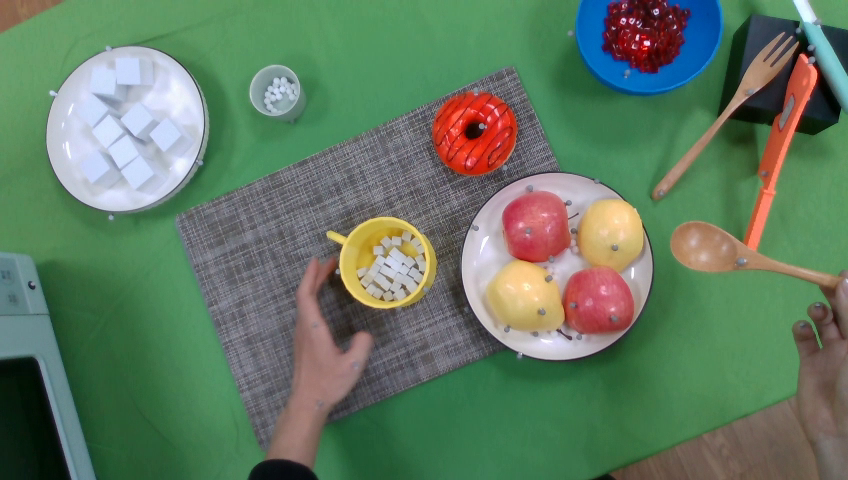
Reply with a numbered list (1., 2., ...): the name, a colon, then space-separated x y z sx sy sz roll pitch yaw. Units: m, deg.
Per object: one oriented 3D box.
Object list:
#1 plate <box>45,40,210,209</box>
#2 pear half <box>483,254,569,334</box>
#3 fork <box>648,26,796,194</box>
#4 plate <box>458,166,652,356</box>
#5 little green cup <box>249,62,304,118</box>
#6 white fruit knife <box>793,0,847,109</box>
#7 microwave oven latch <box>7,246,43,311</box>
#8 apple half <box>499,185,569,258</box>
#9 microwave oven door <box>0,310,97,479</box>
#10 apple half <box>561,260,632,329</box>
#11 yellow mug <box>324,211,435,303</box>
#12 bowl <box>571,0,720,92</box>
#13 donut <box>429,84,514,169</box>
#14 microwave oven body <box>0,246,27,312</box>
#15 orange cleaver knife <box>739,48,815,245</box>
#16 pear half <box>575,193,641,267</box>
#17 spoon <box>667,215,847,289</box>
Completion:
1. plate: -0.359 -0.139 0.747 0.207 0.039 0.207 -1 85 7
2. pear half: 0.119 0.066 0.658 0.110 0.056 0.076 39 96 1
3. fork: 0.310 -0.131 0.645 0.028 0.018 0.208 35 110 0
4. plate: 0.142 0.023 0.673 0.209 0.038 0.208 -1 85 6
5. little green cup: -0.175 -0.178 0.729 0.061 0.039 0.061 -1 85 7
6. white fruit knife: 0.402 -0.226 0.629 0.027 0.016 0.206 -18 81 -24
7. microwave oven latch: -0.487 0.048 0.727 0.030 0.029 0.079 -19 84 4
8. apple half: 0.120 -0.021 0.661 0.074 0.053 0.080 -6 88 6
9. microwave oven door: -0.426 0.244 0.602 0.039 0.244 0.354 -21 83 4
10. apple half: 0.179 0.060 0.649 0.081 0.033 0.081 1 92 29
11. yellow mug: -0.055 0.015 0.682 0.130 0.064 0.100 25 89 9
12. bowl: 0.234 -0.227 0.666 0.151 0.077 0.151 0 86 6
13. donut: 0.054 -0.129 0.692 0.099 0.048 0.099 -1 87 9
14. microwave oven body: -0.575 0.256 0.623 0.326 0.261 0.440 -21 84 4
15. orange cleaver knife: 0.366 -0.092 0.638 0.012 0.077 0.212 13 112 13
16. pear half: 0.195 -0.006 0.655 0.070 0.031 0.088 7 97 30
17. spoon: 0.293 0.022 0.482 0.192 0.022 0.041 18 83 20
